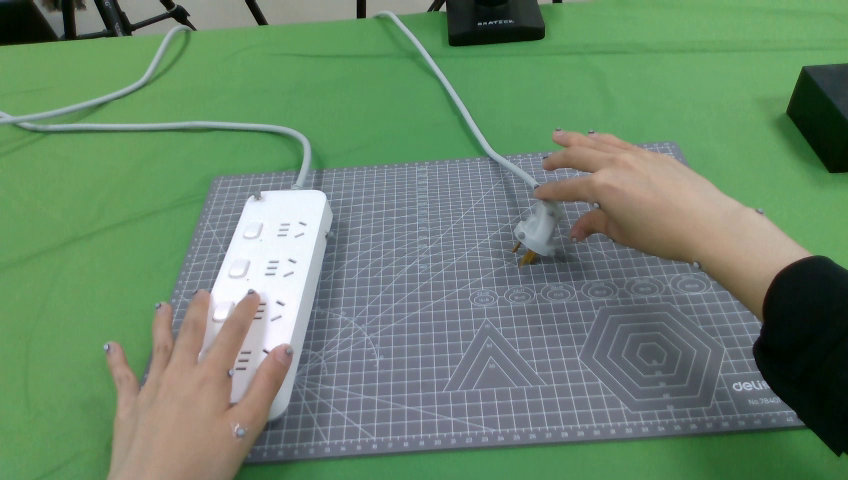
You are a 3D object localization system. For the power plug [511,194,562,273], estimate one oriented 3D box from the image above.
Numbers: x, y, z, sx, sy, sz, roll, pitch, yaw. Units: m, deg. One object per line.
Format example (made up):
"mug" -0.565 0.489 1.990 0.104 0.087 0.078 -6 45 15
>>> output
"power plug" 0.092 -0.003 0.488 0.035 0.053 0.072 34 22 7

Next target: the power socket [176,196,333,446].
"power socket" -0.121 0.044 0.464 0.072 0.033 0.224 0 45 5
